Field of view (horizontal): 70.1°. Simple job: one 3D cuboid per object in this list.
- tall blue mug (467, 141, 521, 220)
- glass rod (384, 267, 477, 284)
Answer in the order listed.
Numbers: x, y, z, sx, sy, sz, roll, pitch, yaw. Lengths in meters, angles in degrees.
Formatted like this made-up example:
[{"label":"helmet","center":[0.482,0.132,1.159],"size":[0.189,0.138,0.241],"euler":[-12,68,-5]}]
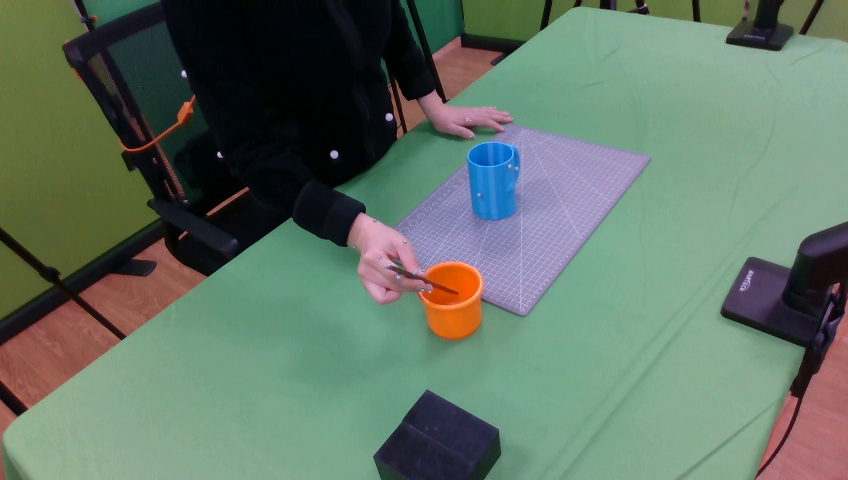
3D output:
[{"label":"tall blue mug","center":[0.119,-0.109,1.020],"size":[0.077,0.108,0.107],"euler":[3,42,15]},{"label":"glass rod","center":[0.015,0.047,0.781],"size":[0.008,0.008,0.201],"euler":[28,9,36]}]
